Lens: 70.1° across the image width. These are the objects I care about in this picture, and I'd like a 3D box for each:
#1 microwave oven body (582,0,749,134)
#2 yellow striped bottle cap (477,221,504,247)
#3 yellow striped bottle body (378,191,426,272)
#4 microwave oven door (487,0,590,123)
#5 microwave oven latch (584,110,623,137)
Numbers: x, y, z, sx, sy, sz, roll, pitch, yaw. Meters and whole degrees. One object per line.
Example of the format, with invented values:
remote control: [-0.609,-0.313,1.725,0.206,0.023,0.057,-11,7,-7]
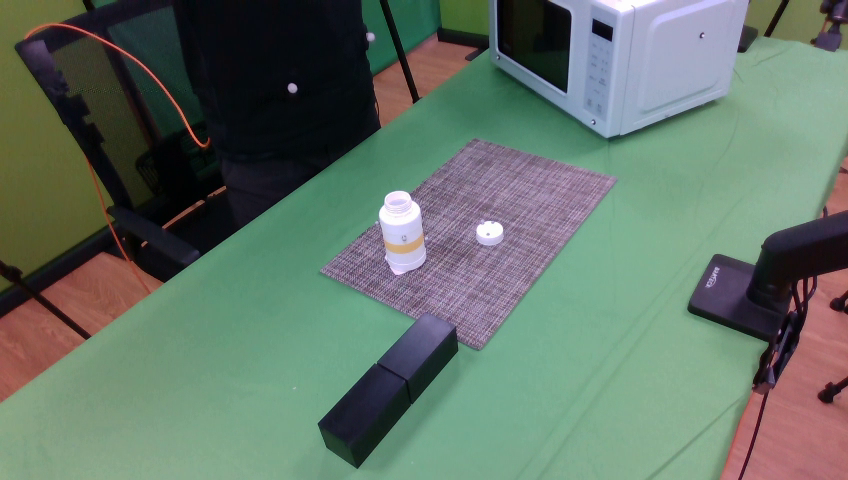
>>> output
microwave oven body: [0.382,-0.444,1.246,0.327,0.261,0.437,-22,42,-16]
yellow striped bottle cap: [0.106,-0.010,0.966,0.044,0.019,0.044,-5,39,4]
yellow striped bottle body: [-0.033,-0.015,0.910,0.063,0.121,0.062,-4,41,4]
microwave oven door: [0.232,-0.420,1.230,0.039,0.245,0.352,-22,43,-16]
microwave oven latch: [0.337,-0.222,1.142,0.030,0.029,0.078,-21,42,-14]
